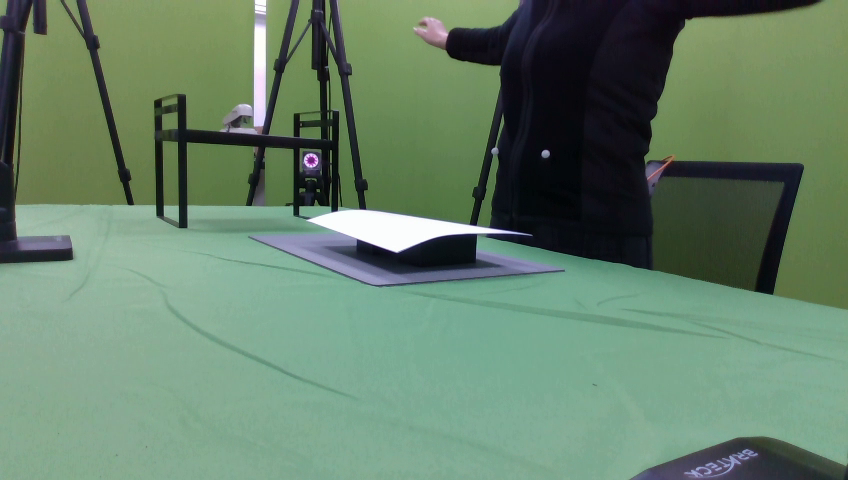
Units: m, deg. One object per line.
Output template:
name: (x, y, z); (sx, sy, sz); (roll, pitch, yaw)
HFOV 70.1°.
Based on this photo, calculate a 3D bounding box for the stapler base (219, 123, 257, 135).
stapler base: (-0.375, -0.225, 1.221); (0.041, 0.024, 0.130); (1, 5, -36)

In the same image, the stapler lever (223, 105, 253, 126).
stapler lever: (-0.375, -0.250, 1.219); (0.027, 0.040, 0.117); (1, 6, -36)
